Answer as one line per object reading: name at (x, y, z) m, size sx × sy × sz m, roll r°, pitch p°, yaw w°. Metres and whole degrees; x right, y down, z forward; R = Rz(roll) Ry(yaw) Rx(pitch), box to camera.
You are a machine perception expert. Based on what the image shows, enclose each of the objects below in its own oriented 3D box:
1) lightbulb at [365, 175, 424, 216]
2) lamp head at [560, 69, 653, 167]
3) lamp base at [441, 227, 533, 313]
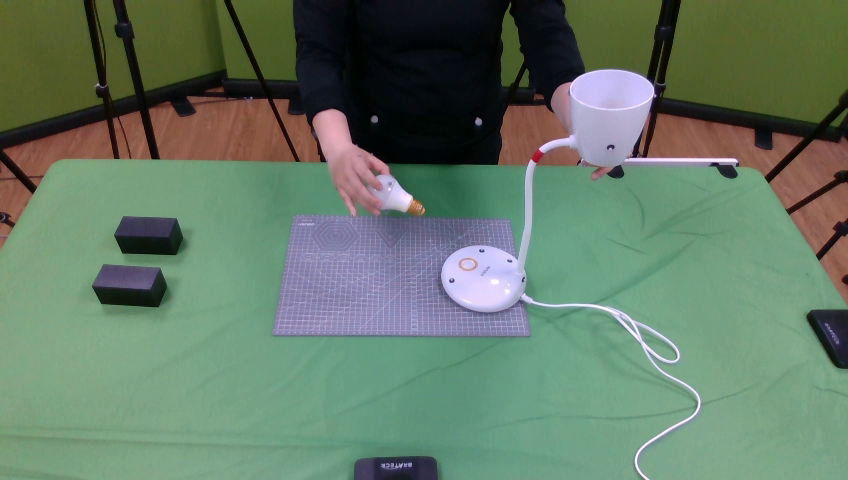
lightbulb at (-0.049, -0.072, 1.043) m, size 0.108 × 0.060 × 0.059 m, roll 26°, pitch 46°, yaw -6°
lamp head at (0.254, -0.165, 0.862) m, size 0.112 × 0.123 × 0.111 m, roll 0°, pitch 42°, yaw 0°
lamp base at (0.126, 0.021, 1.072) m, size 0.179 × 0.181 × 0.160 m, roll 23°, pitch 49°, yaw 14°
